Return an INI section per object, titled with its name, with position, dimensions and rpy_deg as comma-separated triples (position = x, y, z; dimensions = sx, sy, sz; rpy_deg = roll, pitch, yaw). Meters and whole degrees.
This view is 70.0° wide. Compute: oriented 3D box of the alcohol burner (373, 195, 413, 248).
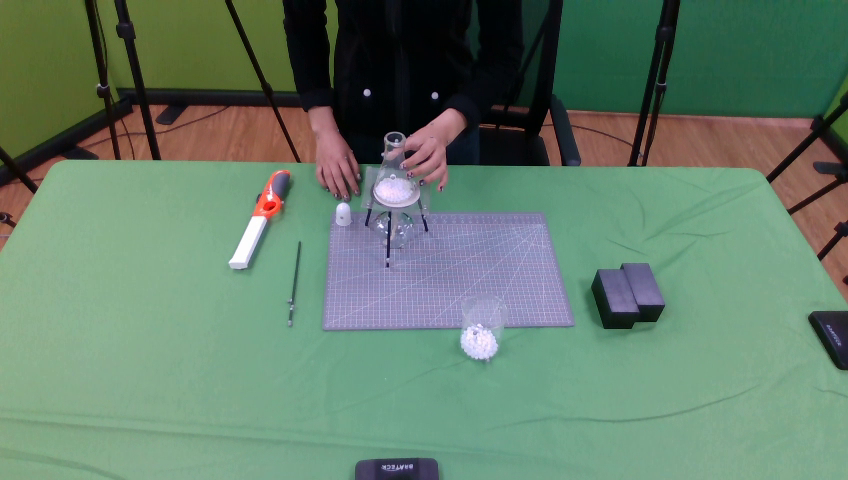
[alcohol burner]
position = -0.059, -0.041, 1.167
dimensions = 0.078, 0.119, 0.077
rpy_deg = 4, 46, -4

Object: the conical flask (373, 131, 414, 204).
[conical flask]
position = -0.053, -0.130, 1.066
dimensions = 0.075, 0.122, 0.075
rpy_deg = 2, 44, -2

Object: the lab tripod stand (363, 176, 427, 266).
[lab tripod stand]
position = -0.058, -0.047, 1.159
dimensions = 0.148, 0.132, 0.147
rpy_deg = 3, 44, -2

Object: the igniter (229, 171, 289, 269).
[igniter]
position = -0.328, -0.049, 1.218
dimensions = 0.057, 0.025, 0.275
rpy_deg = 1, 45, 11

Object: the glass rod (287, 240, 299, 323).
[glass rod]
position = -0.242, 0.072, 1.119
dimensions = 0.008, 0.008, 0.198
rpy_deg = -1, 47, -5

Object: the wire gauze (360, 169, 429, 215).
[wire gauze]
position = -0.052, -0.092, 1.112
dimensions = 0.125, 0.011, 0.120
rpy_deg = 3, 43, 1

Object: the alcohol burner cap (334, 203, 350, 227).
[alcohol burner cap]
position = -0.166, -0.054, 1.221
dimensions = 0.034, 0.048, 0.033
rpy_deg = 2, 45, -2

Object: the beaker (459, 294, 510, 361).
[beaker]
position = 0.095, 0.147, 1.012
dimensions = 0.083, 0.101, 0.074
rpy_deg = 26, 49, 21
